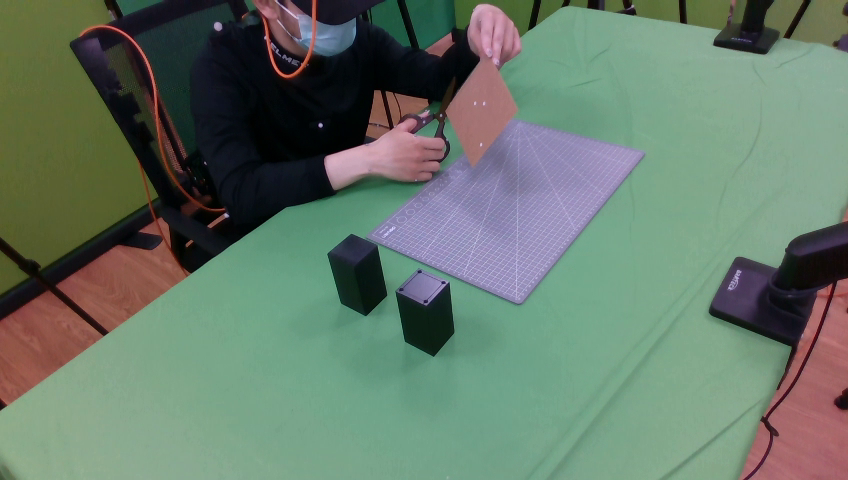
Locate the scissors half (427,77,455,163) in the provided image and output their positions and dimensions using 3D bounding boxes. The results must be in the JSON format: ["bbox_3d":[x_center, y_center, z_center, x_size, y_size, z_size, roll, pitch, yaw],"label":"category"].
[{"bbox_3d":[0.036,-0.211,1.078,0.040,0.175,0.013,21,42,11],"label":"scissors half"}]

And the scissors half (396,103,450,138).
[{"bbox_3d":[0.016,-0.227,1.075,0.174,0.040,0.013,-19,29,35],"label":"scissors half"}]

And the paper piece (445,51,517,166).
[{"bbox_3d":[0.089,-0.215,0.989,0.004,0.135,0.135,2,54,-35],"label":"paper piece"}]

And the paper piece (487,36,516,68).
[{"bbox_3d":[0.105,-0.295,1.076,0.008,0.135,0.138,42,39,4],"label":"paper piece"}]
